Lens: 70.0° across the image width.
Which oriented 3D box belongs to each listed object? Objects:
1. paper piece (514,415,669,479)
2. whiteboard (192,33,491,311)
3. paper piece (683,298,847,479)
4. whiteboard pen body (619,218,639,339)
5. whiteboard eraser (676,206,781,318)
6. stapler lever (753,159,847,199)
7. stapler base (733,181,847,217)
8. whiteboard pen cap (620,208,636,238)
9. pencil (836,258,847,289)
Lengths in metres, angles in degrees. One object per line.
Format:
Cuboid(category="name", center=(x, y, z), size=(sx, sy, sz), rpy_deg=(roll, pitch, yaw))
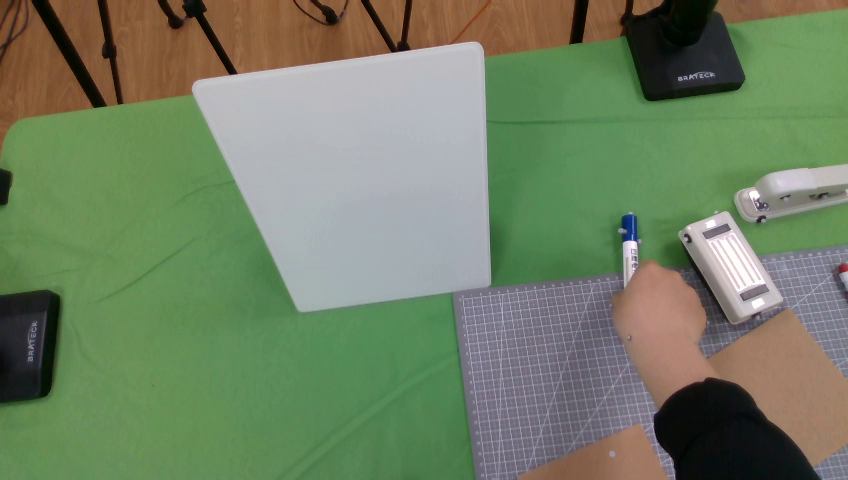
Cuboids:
Cuboid(category="paper piece", center=(0.175, 0.256, 0.578), size=(0.135, 0.004, 0.134), rpy_deg=(-21, 70, -5))
Cuboid(category="whiteboard", center=(-0.053, -0.086, 0.595), size=(0.217, 0.308, 0.142), rpy_deg=(-7, 50, 1))
Cuboid(category="paper piece", center=(0.355, 0.150, 0.607), size=(0.136, 0.009, 0.137), rpy_deg=(-29, 73, -3))
Cuboid(category="whiteboard pen body", center=(0.219, 0.036, 0.650), size=(0.017, 0.017, 0.140), rpy_deg=(3, 72, 5))
Cuboid(category="whiteboard eraser", center=(0.318, 0.023, 0.638), size=(0.055, 0.042, 0.112), rpy_deg=(-21, 70, -3))
Cuboid(category="stapler lever", center=(0.416, -0.068, 0.654), size=(0.118, 0.040, 0.026), rpy_deg=(-12, 72, -2))
Cuboid(category="stapler base", center=(0.415, -0.059, 0.676), size=(0.130, 0.024, 0.041), rpy_deg=(-12, 72, -3))
Cuboid(category="whiteboard pen cap", center=(0.227, -0.017, 0.671), size=(0.018, 0.018, 0.033), rpy_deg=(1, 70, 4))
Cuboid(category="pencil", center=(0.460, 0.109, 0.615), size=(0.012, 0.012, 0.192), rpy_deg=(-11, 72, 0))
